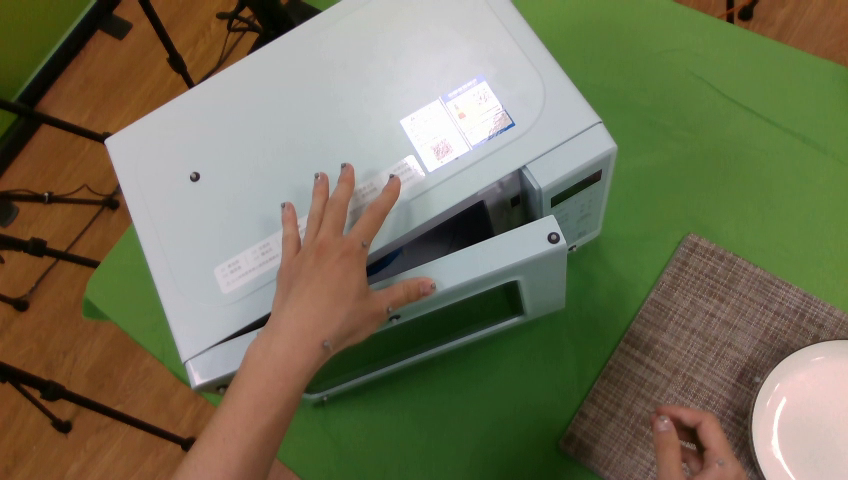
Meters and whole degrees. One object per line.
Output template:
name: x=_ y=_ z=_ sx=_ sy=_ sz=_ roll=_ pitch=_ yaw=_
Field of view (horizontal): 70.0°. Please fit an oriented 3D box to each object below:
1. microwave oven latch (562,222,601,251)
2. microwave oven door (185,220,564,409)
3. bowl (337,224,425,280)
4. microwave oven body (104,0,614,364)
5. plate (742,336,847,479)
microwave oven latch: x=0.176 y=-0.007 z=0.737 sx=0.079 sy=0.030 sz=0.030 roll=-29 pitch=69 yaw=2
microwave oven door: x=-0.026 y=0.092 z=0.636 sx=0.356 sy=0.246 sz=0.039 roll=-22 pitch=68 yaw=4
bowl: x=-0.064 y=-0.014 z=0.725 sx=0.151 sy=0.077 sz=0.150 roll=-4 pitch=66 yaw=11
microwave oven body: x=-0.066 y=-0.068 z=0.703 sx=0.442 sy=0.262 sz=0.323 roll=-30 pitch=69 yaw=1
plate: x=0.438 y=0.205 z=0.625 sx=0.207 sy=0.039 sz=0.206 roll=-4 pitch=71 yaw=10
